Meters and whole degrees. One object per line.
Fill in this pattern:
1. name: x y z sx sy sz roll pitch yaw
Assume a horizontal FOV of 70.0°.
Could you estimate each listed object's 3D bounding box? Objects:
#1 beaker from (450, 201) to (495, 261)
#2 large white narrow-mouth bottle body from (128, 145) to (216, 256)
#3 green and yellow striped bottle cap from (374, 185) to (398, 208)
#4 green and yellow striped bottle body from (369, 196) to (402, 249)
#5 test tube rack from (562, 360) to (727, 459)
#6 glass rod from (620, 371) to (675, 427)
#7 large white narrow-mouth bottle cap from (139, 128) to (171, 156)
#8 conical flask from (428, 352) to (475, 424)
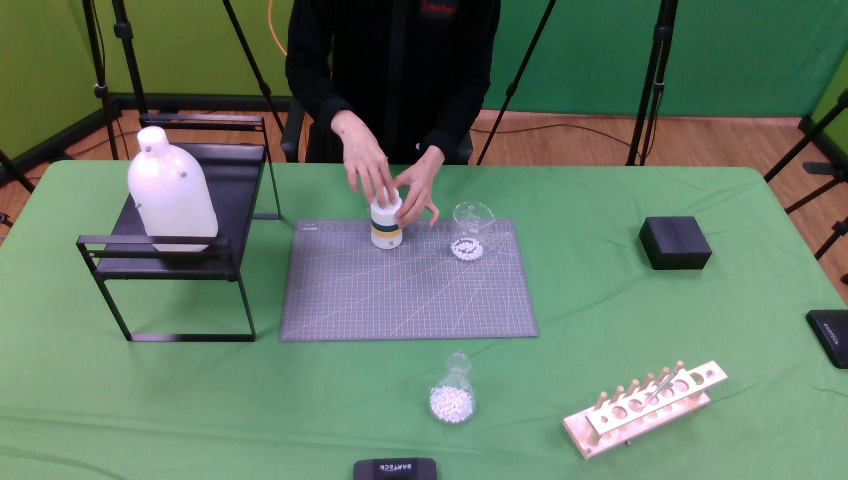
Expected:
1. beaker: 0.089 -0.014 1.161 0.084 0.101 0.073 9 47 4
2. large white narrow-mouth bottle body: -0.366 -0.073 0.872 0.102 0.195 0.101 3 47 -3
3. green and yellow striped bottle cap: -0.070 -0.082 1.124 0.045 0.020 0.045 3 46 -3
4. green and yellow striped bottle body: -0.073 -0.045 1.163 0.063 0.120 0.063 2 46 -2
5. test tube rack: 0.341 0.247 0.940 0.243 0.085 0.066 -16 49 -18
6. glass rod: 0.316 0.230 0.863 0.008 0.200 0.008 3 54 -3
7. large white narrow-mouth bottle cap: -0.358 -0.132 0.808 0.038 0.024 0.037 3 47 -3
8. conical flask: 0.046 0.220 0.920 0.075 0.122 0.075 2 46 -2
